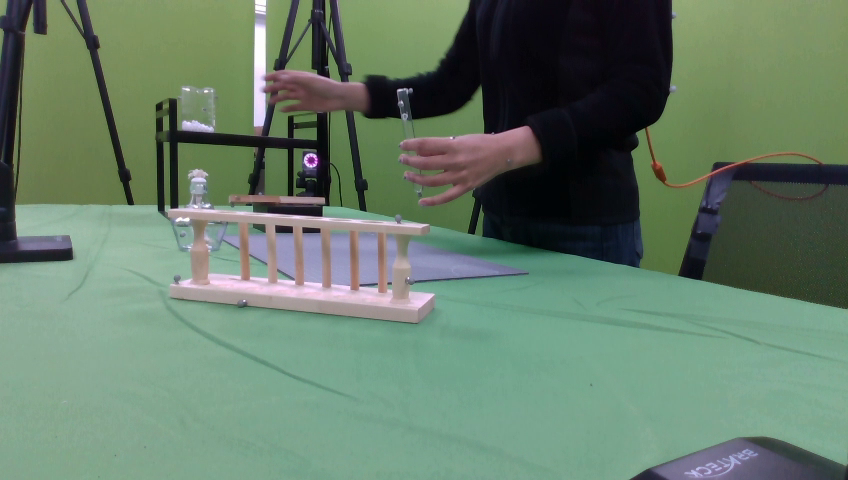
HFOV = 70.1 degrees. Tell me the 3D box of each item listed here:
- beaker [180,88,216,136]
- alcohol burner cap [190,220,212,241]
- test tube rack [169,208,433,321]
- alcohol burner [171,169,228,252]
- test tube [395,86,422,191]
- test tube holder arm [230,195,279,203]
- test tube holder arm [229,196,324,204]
[{"bbox_3d":[-0.498,-0.283,1.339,0.074,0.100,0.083,-2,9,-28],"label":"beaker"},{"bbox_3d":[-0.365,-0.023,0.988,0.034,0.048,0.034,2,8,0],"label":"alcohol burner cap"},{"bbox_3d":[-0.115,0.018,0.574,0.242,0.085,0.067,4,8,14],"label":"test tube rack"},{"bbox_3d":[-0.325,-0.042,0.875,0.078,0.119,0.078,0,7,0],"label":"alcohol burner"},{"bbox_3d":[-0.022,-0.145,0.870,0.017,0.150,0.017,-9,13,2],"label":"test tube"},{"bbox_3d":[-0.311,-0.075,1.114,0.088,0.015,0.010,-2,-3,-30],"label":"test tube holder arm"},{"bbox_3d":[-0.274,-0.076,1.142,0.179,0.015,0.013,-2,-3,-31],"label":"test tube holder arm"}]
